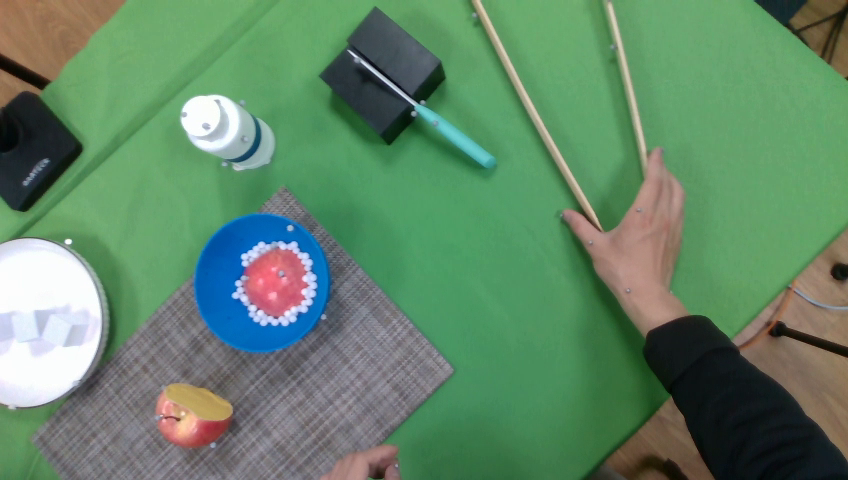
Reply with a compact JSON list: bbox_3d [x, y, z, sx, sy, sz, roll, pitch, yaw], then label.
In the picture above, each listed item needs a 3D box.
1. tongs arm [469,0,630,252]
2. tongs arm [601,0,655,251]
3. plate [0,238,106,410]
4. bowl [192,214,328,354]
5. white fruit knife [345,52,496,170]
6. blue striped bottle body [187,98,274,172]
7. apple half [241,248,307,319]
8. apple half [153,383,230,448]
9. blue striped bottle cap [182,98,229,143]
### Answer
[{"bbox_3d":[0.126,-0.153,0.687,0.028,0.028,0.386,-27,83,2],"label":"tongs arm"},{"bbox_3d":[0.203,-0.180,0.675,0.051,0.026,0.383,-14,85,7],"label":"tongs arm"},{"bbox_3d":[-0.485,0.102,0.747,0.207,0.039,0.207,-1,86,7],"label":"plate"},{"bbox_3d":[-0.172,0.050,0.683,0.151,0.077,0.151,-1,86,8],"label":"bowl"},{"bbox_3d":[-0.003,-0.142,0.674,0.208,0.027,0.016,36,109,-8],"label":"white fruit knife"},{"bbox_3d":[-0.221,-0.120,0.685,0.063,0.121,0.063,-1,85,8],"label":"blue striped bottle body"},{"bbox_3d":[-0.171,0.049,0.679,0.081,0.033,0.081,-1,85,9],"label":"apple half"},{"bbox_3d":[-0.267,0.205,0.688,0.080,0.075,0.053,27,93,5],"label":"apple half"},{"bbox_3d":[-0.229,-0.125,0.635,0.044,0.020,0.044,0,87,6],"label":"blue striped bottle cap"}]
